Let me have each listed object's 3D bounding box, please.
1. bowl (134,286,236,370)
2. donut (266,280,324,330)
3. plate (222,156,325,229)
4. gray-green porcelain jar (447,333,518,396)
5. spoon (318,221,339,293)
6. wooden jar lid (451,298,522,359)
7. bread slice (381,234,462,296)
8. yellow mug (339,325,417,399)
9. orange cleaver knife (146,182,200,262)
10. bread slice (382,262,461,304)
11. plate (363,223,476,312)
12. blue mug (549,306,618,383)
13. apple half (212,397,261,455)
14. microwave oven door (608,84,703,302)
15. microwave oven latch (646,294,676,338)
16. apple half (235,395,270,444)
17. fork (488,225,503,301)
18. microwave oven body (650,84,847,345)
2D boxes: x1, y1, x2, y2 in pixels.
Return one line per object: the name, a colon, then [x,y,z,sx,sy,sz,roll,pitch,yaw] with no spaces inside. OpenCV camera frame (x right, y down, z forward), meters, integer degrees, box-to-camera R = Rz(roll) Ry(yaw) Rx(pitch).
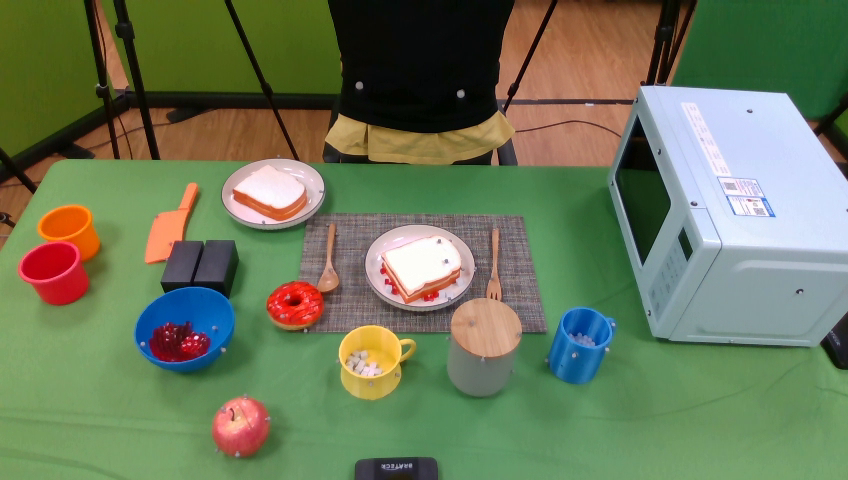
bowl: [-0.377,0.156,0.981,0.151,0.077,0.150,2,46,-2]
donut: [-0.223,0.112,1.051,0.099,0.048,0.098,2,46,-2]
plate: [-0.308,-0.094,1.251,0.209,0.038,0.208,2,47,-2]
gray-green porcelain jar: [0.091,0.178,0.960,0.106,0.127,0.105,2,46,-2]
spoon: [-0.178,0.028,1.149,0.041,0.022,0.192,-18,46,13]
wooden jar lid: [0.093,0.135,0.914,0.108,0.021,0.107,3,48,-3]
bread slice: [0.001,0.039,1.108,0.134,0.018,0.106,-25,56,-22]
yellow mug: [-0.072,0.191,0.978,0.131,0.064,0.099,-17,49,-20]
orange cleaver knife: [-0.494,-0.039,1.199,0.077,0.012,0.210,-4,48,2]
bread slice: [0.000,0.056,1.130,0.131,0.019,0.104,-23,51,-20]
plate: [-0.009,0.054,1.126,0.208,0.039,0.206,2,46,-2]
blue mug: [0.269,0.167,0.997,0.116,0.106,0.082,-19,50,-21]
apple half: [-0.276,0.276,0.877,0.053,0.075,0.080,-29,58,-21]
microwave oven door: [0.424,-0.096,1.138,0.039,0.245,0.353,3,46,-1]
microwave oven latch: [0.412,0.133,1.060,0.030,0.029,0.078,4,46,1]
apple half: [-0.245,0.260,0.893,0.033,0.082,0.081,-29,55,-22]
fork: [0.138,0.042,1.160,0.028,0.019,0.206,0,47,9]
microwave oven body: [0.569,-0.054,1.116,0.326,0.261,0.439,2,46,-1]
